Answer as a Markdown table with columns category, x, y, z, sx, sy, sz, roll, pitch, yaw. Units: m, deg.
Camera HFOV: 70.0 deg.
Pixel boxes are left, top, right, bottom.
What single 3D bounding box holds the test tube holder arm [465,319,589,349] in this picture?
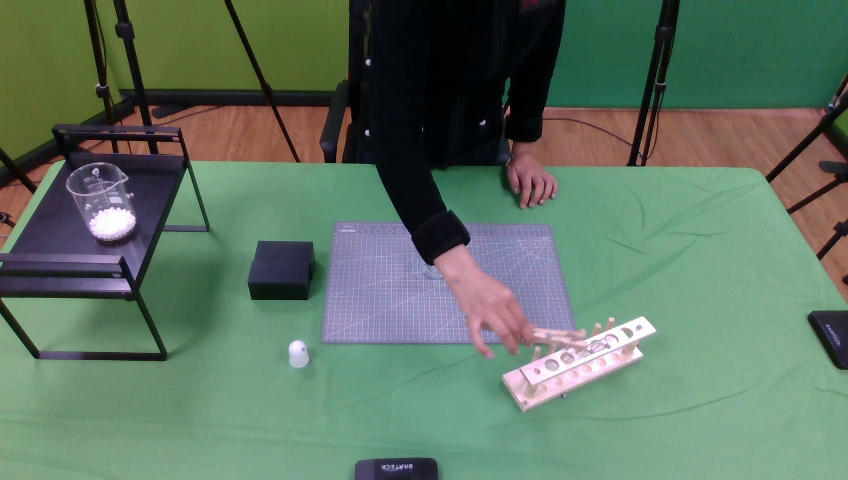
| category | x | y | z | sx | sy | sz | roll | pitch | yaw |
| --- | --- | --- | --- | --- | --- | --- | --- | --- | --- |
| test tube holder arm | 0.147 | 0.133 | 0.863 | 0.178 | 0.015 | 0.013 | 9 | 40 | -5 |

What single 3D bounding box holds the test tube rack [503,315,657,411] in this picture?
| category | x | y | z | sx | sy | sz | roll | pitch | yaw |
| --- | --- | --- | --- | --- | --- | --- | --- | --- | --- |
| test tube rack | 0.253 | 0.186 | 0.989 | 0.242 | 0.085 | 0.066 | -18 | 50 | -20 |

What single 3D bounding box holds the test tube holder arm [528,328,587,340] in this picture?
| category | x | y | z | sx | sy | sz | roll | pitch | yaw |
| --- | --- | --- | --- | --- | --- | --- | --- | --- | --- |
| test tube holder arm | 0.191 | 0.136 | 0.873 | 0.088 | 0.015 | 0.010 | 5 | 41 | -11 |

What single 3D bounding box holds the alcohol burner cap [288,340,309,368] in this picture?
| category | x | y | z | sx | sy | sz | roll | pitch | yaw |
| --- | --- | --- | --- | --- | --- | --- | --- | --- | --- |
| alcohol burner cap | -0.207 | 0.183 | 0.991 | 0.034 | 0.048 | 0.033 | 2 | 47 | -2 |

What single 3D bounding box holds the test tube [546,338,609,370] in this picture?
| category | x | y | z | sx | sy | sz | roll | pitch | yaw |
| --- | --- | --- | --- | --- | --- | --- | --- | --- | --- |
| test tube | 0.225 | 0.181 | 0.933 | 0.017 | 0.150 | 0.017 | 17 | 55 | -27 |

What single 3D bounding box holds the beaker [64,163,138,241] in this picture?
| category | x | y | z | sx | sy | sz | roll | pitch | yaw |
| --- | --- | --- | --- | --- | --- | --- | --- | --- | --- |
| beaker | -0.477 | -0.055 | 0.910 | 0.084 | 0.101 | 0.073 | -9 | 48 | -13 |

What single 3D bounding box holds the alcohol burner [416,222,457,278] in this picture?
| category | x | y | z | sx | sy | sz | roll | pitch | yaw |
| --- | --- | --- | --- | --- | --- | --- | --- | --- | --- |
| alcohol burner | 0.024 | 0.014 | 1.116 | 0.078 | 0.120 | 0.077 | 1 | 45 | -1 |
